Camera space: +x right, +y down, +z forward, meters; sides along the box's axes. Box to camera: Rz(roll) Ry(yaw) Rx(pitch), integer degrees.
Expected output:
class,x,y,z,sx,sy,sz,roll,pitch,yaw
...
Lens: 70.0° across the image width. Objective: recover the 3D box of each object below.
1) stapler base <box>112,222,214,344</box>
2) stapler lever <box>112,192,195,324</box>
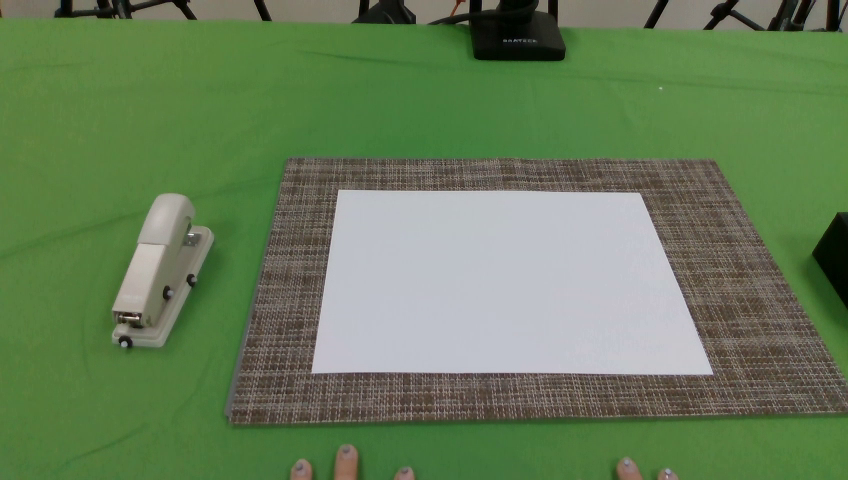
class,x,y,z,sx,sy,sz,roll,pitch,yaw
stapler base,-0.213,0.026,0.498,0.041,0.024,0.129,3,46,4
stapler lever,-0.212,0.010,0.478,0.027,0.040,0.117,3,47,4
